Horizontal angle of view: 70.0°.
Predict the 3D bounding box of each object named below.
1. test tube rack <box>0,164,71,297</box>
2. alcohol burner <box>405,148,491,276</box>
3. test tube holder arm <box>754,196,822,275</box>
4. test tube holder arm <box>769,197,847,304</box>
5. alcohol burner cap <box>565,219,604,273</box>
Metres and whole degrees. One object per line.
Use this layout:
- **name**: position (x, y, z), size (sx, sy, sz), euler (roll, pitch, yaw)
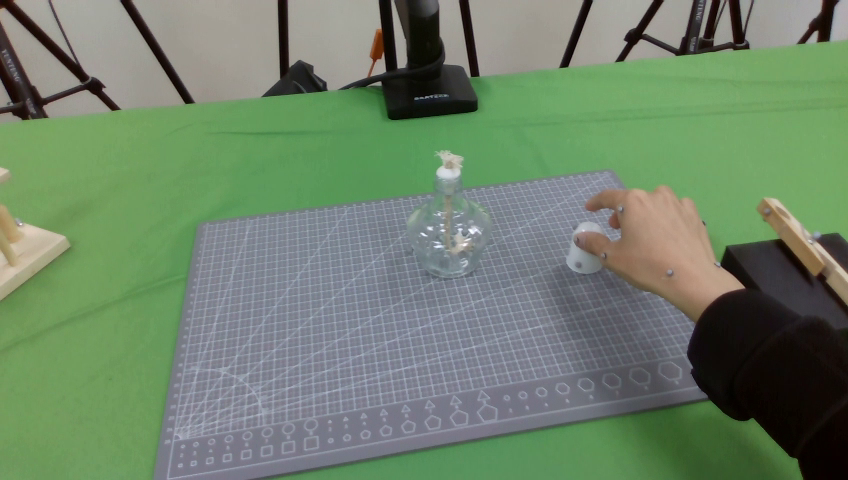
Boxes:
- **test tube rack**: position (-0.434, 0.036, 0.508), size (0.066, 0.086, 0.241), euler (16, 44, 19)
- **alcohol burner**: position (0.021, -0.027, 0.535), size (0.078, 0.120, 0.077), euler (-2, 39, 2)
- **test tube holder arm**: position (0.301, -0.005, 0.499), size (0.010, 0.015, 0.087), euler (-1, 41, -10)
- **test tube holder arm**: position (0.313, 0.024, 0.467), size (0.013, 0.015, 0.176), euler (-1, 41, -10)
- **alcohol burner cap**: position (0.147, 0.004, 0.550), size (0.034, 0.048, 0.033), euler (-1, 41, 2)
